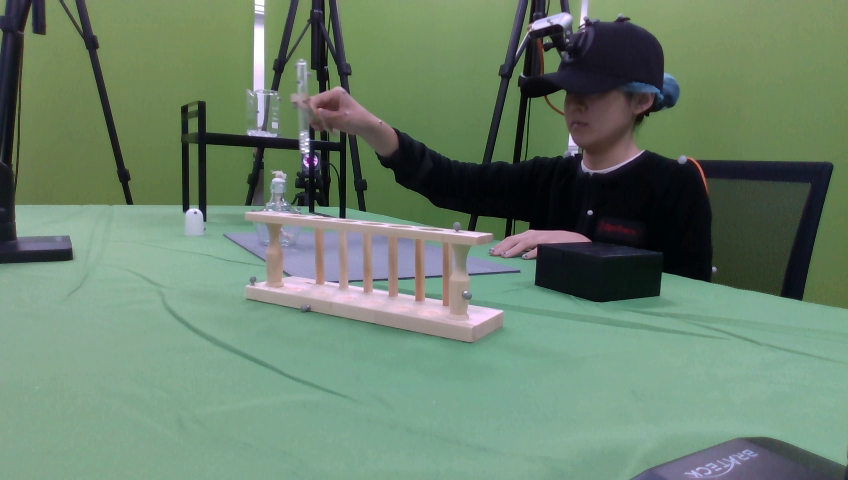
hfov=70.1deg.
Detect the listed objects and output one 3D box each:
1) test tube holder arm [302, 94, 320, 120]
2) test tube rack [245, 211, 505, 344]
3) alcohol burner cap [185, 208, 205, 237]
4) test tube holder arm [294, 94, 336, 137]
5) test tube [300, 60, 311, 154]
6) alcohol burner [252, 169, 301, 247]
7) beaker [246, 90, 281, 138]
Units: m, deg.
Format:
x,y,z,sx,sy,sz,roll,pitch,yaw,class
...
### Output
x,y,z,sx,sy,sz,roll,pitch,yaw,class
-0.178,-0.211,0.960,0.010,0.015,0.088,2,-7,2,test tube holder arm
-0.049,0.025,0.547,0.241,0.085,0.067,7,8,29,test tube rack
-0.391,-0.031,1.032,0.034,0.048,0.034,3,8,0,alcohol burner cap
-0.178,-0.205,1.005,0.013,0.015,0.179,2,-7,9,test tube holder arm
-0.184,-0.207,0.936,0.017,0.150,0.017,-2,-8,0,test tube
-0.227,-0.050,0.936,0.078,0.119,0.078,1,7,0,alcohol burner
-0.354,-0.275,1.322,0.074,0.100,0.084,4,8,12,beaker
